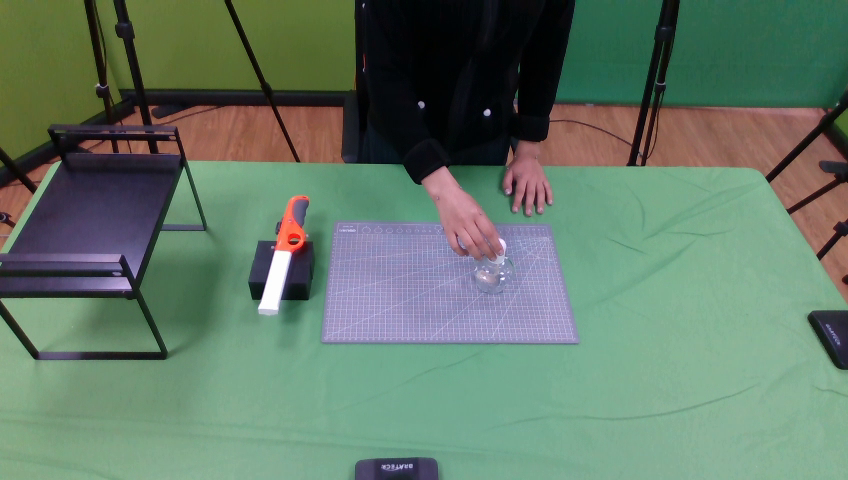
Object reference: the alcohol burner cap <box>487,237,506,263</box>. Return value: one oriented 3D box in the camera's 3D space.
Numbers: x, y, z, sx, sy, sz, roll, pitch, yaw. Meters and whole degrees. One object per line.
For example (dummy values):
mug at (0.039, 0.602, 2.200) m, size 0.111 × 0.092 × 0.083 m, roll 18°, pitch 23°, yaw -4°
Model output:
alcohol burner cap at (0.130, 0.015, 1.078) m, size 0.034 × 0.048 × 0.033 m, roll 1°, pitch 49°, yaw -1°

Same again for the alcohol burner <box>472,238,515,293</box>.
alcohol burner at (0.128, 0.041, 1.102) m, size 0.078 × 0.120 × 0.077 m, roll 1°, pitch 47°, yaw -1°

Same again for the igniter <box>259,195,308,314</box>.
igniter at (-0.252, 0.016, 1.094) m, size 0.057 × 0.025 × 0.275 m, roll 6°, pitch 48°, yaw -3°
